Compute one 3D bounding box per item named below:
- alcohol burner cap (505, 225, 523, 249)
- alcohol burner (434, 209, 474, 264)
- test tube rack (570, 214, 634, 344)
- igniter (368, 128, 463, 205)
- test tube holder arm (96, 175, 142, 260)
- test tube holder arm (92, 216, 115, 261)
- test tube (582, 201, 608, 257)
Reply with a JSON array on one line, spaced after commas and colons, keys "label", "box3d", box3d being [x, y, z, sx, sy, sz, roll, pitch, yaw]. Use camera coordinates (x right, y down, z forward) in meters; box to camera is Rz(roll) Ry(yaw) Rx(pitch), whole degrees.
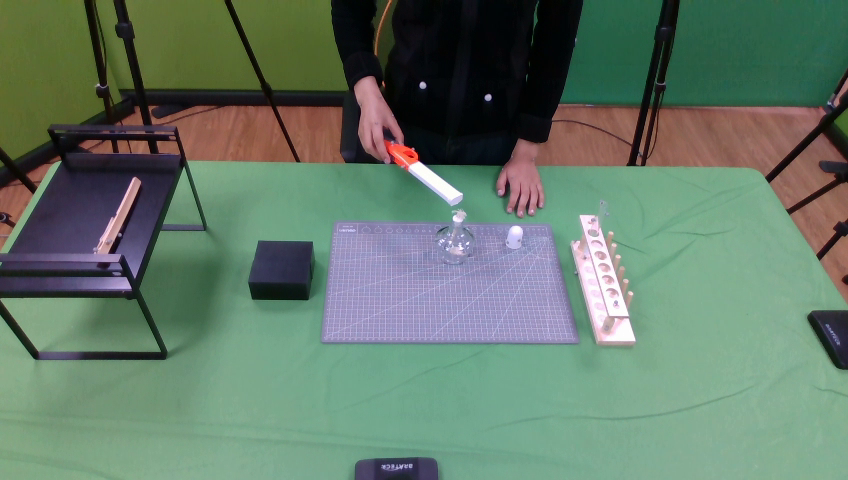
[{"label": "alcohol burner cap", "box3d": [0.180, -0.009, 1.203, 0.034, 0.048, 0.033, 2, 47, -2]}, {"label": "alcohol burner", "box3d": [0.058, -0.011, 1.147, 0.078, 0.119, 0.077, 3, 44, -3]}, {"label": "test tube rack", "box3d": [0.333, 0.067, 1.116, 0.067, 0.085, 0.241, 1, 46, -4]}, {"label": "igniter", "box3d": [-0.026, -0.150, 1.185, 0.057, 0.025, 0.275, -27, 51, -29]}, {"label": "test tube holder arm", "box3d": [-0.473, -0.039, 0.946, 0.013, 0.015, 0.177, -18, 43, 19]}, {"label": "test tube holder arm", "box3d": [-0.479, -0.004, 0.917, 0.010, 0.015, 0.087, -18, 44, 20]}, {"label": "test tube", "box3d": [0.316, -0.017, 1.127, 0.017, 0.151, 0.017, 1, 51, -1]}]
